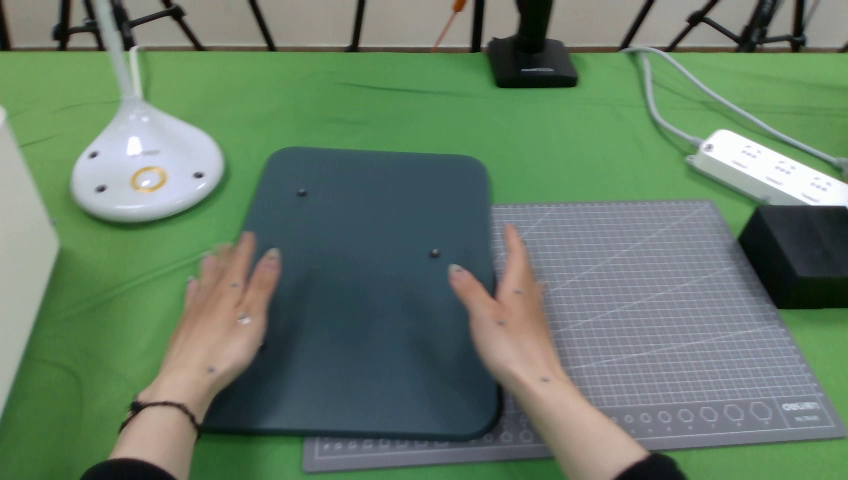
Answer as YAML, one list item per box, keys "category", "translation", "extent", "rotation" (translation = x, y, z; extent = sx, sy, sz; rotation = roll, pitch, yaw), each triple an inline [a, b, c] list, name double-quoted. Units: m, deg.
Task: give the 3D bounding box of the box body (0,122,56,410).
- category: "box body"
  translation: [-0.452, 0.074, 0.426]
  extent: [0.255, 0.162, 0.360]
  rotation: [-5, 46, -9]

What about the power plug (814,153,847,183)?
- category: "power plug"
  translation: [0.514, -0.085, 0.748]
  extent: [0.053, 0.035, 0.072]
  rotation: [-26, 18, -32]

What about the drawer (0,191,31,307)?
- category: "drawer"
  translation: [-0.443, 0.033, 0.461]
  extent: [0.195, 0.074, 0.209]
  rotation: [5, 36, -18]

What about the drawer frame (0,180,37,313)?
- category: "drawer frame"
  translation: [-0.445, 0.032, 0.463]
  extent: [0.202, 0.083, 0.211]
  rotation: [5, 35, -18]

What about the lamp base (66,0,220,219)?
- category: "lamp base"
  translation: [-0.316, -0.142, 0.632]
  extent: [0.161, 0.182, 0.177]
  rotation: [-20, 48, -22]

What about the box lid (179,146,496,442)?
- category: "box lid"
  translation: [-0.066, 0.025, 0.605]
  extent: [0.263, 0.015, 0.368]
  rotation: [2, 45, 0]

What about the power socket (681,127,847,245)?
- category: "power socket"
  translation: [0.422, -0.068, 0.713]
  extent: [0.225, 0.033, 0.072]
  rotation: [35, 53, 27]
